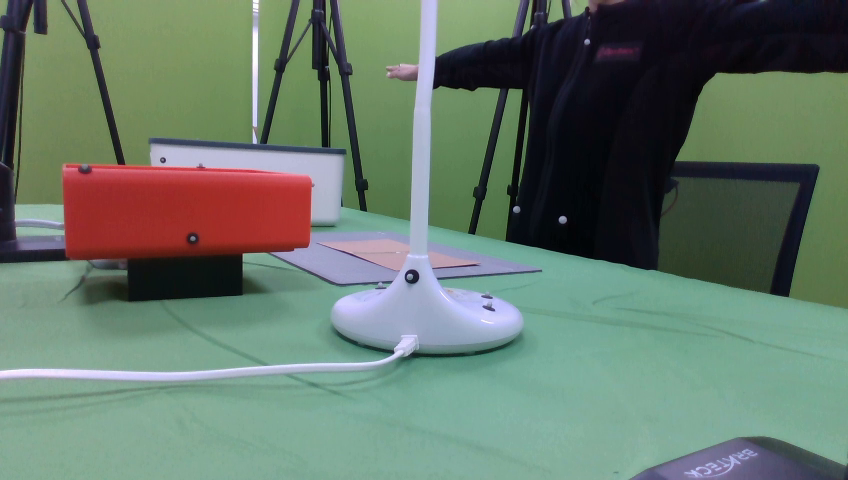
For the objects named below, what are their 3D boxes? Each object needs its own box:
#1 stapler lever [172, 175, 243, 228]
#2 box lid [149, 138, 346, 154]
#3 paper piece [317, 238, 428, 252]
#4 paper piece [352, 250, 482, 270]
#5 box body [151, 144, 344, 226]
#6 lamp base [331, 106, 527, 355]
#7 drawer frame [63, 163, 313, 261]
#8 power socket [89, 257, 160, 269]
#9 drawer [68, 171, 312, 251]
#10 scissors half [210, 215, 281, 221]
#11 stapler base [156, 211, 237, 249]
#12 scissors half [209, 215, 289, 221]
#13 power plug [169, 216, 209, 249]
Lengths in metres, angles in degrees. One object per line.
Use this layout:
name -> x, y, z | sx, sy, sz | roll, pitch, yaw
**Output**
stapler lever -> -0.217, -0.042, 0.618 | 0.027, 0.040, 0.118 | 19, 11, -2
box lid -> -0.365, -0.191, 1.255 | 0.373, 0.015, 0.262 | -1, 8, -24
paper piece -> -0.083, 0.008, 0.951 | 0.136, 0.004, 0.134 | -1, 8, -31
paper piece -> -0.013, 0.026, 0.842 | 0.139, 0.008, 0.135 | 0, 11, -32
box body -> -0.370, -0.119, 1.264 | 0.366, 0.160, 0.253 | -1, 8, -24
lamp base -> 0.006, -0.012, 0.478 | 0.161, 0.180, 0.179 | 2, 10, 2
drawer frame -> -0.248, -0.036, 0.626 | 0.215, 0.082, 0.200 | -3, 9, -31
power socket -> -0.409, 0.004, 0.793 | 0.072, 0.032, 0.225 | -2, 8, -38
drawer -> -0.246, -0.036, 0.629 | 0.213, 0.073, 0.193 | -2, 9, -30
scissors half -> -0.364, -0.044, 1.215 | 0.174, 0.013, 0.040 | 1, 5, 26
stapler base -> -0.227, -0.017, 0.624 | 0.041, 0.024, 0.130 | 19, 9, -2
scissors half -> -0.358, -0.045, 1.235 | 0.175, 0.013, 0.040 | 1, -1, 8
power plug -> -0.343, -0.007, 0.889 | 0.035, 0.052, 0.072 | -8, -7, -41
